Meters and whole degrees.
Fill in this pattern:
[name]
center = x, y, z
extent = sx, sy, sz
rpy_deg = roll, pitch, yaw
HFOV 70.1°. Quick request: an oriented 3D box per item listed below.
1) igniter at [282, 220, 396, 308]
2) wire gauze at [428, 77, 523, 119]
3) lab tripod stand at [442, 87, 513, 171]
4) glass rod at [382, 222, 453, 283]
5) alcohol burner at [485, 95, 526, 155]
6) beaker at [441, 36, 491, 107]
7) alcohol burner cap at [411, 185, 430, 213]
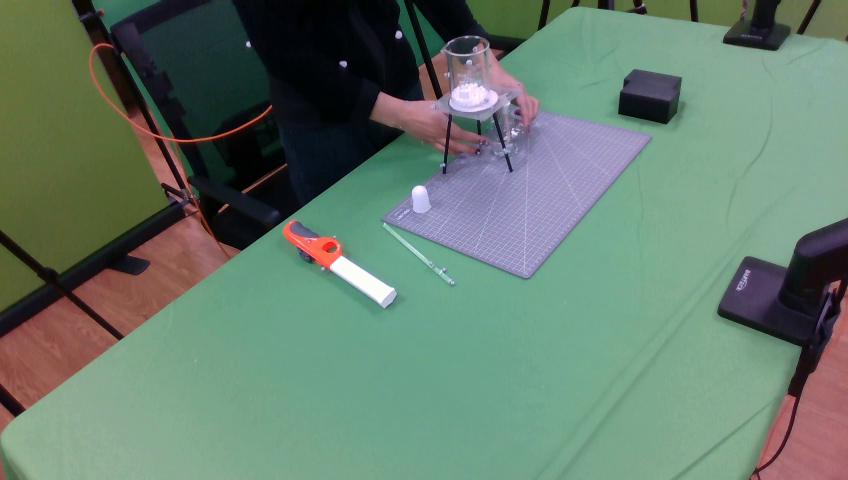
[igniter]
center = -0.146, 0.032, 0.966
extent = 0.274, 0.025, 0.057
rpy_deg = 30, 65, 37
[wire gauze]
center = 0.090, -0.249, 1.063
extent = 0.120, 0.011, 0.125
rpy_deg = 24, 48, 30
[lab tripod stand]
center = 0.097, -0.200, 1.108
extent = 0.148, 0.132, 0.147
rpy_deg = -4, 40, 4
[glass rod]
center = -0.014, 0.016, 0.976
extent = 0.008, 0.008, 0.198
rpy_deg = -30, 44, -22
[alcohol burner]
center = 0.153, -0.221, 1.137
extent = 0.078, 0.119, 0.077
rpy_deg = -4, 42, 4
[beaker]
center = 0.074, -0.287, 1.036
extent = 0.084, 0.101, 0.073
rpy_deg = -1, 41, 8
[alcohol burner cap]
center = -0.008, -0.074, 1.050
extent = 0.034, 0.048, 0.033
rpy_deg = -4, 40, 4
